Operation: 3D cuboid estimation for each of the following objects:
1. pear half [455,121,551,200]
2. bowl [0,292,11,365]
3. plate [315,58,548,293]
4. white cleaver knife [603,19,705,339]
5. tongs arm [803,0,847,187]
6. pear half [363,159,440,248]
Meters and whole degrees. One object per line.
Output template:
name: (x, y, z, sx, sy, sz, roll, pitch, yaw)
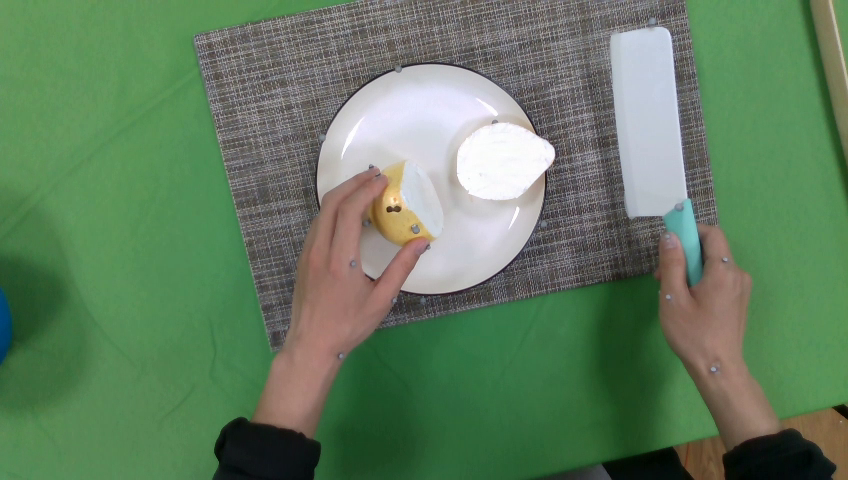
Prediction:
pear half: (0.072, -0.072, 0.550, 0.088, 0.031, 0.070, -6, 95, 15)
bowl: (-0.428, 0.072, 0.530, 0.151, 0.076, 0.151, 0, 96, -3)
plate: (0.007, -0.057, 0.554, 0.208, 0.039, 0.208, 0, 97, -2)
white cleaver knife: (0.206, -0.048, 0.541, 0.021, 0.065, 0.287, -18, 101, -37)
tongs arm: (0.402, -0.130, 0.575, 0.028, 0.027, 0.388, -20, 97, -1)
pear half: (-0.026, -0.026, 0.511, 0.056, 0.110, 0.076, -27, 87, 14)
